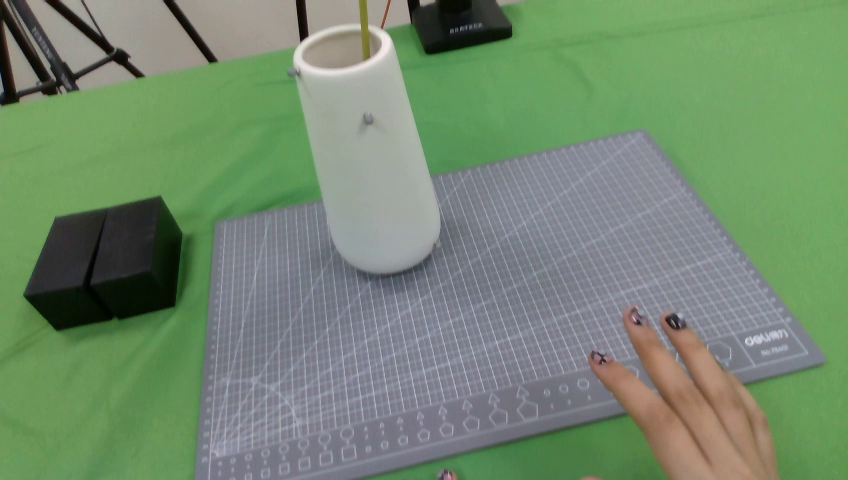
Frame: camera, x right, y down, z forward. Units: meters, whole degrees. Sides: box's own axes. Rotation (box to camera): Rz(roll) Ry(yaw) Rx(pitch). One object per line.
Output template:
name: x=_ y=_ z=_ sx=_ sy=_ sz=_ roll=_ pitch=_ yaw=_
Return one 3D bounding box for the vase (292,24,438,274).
vase: x=-0.046 y=-0.064 z=0.487 sx=0.098 sy=0.202 sz=0.097 roll=-6 pitch=45 yaw=6

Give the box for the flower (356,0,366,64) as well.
flower: x=-0.044 y=-0.131 z=0.434 sx=0.044 sy=0.364 sz=0.038 roll=11 pitch=32 yaw=15
